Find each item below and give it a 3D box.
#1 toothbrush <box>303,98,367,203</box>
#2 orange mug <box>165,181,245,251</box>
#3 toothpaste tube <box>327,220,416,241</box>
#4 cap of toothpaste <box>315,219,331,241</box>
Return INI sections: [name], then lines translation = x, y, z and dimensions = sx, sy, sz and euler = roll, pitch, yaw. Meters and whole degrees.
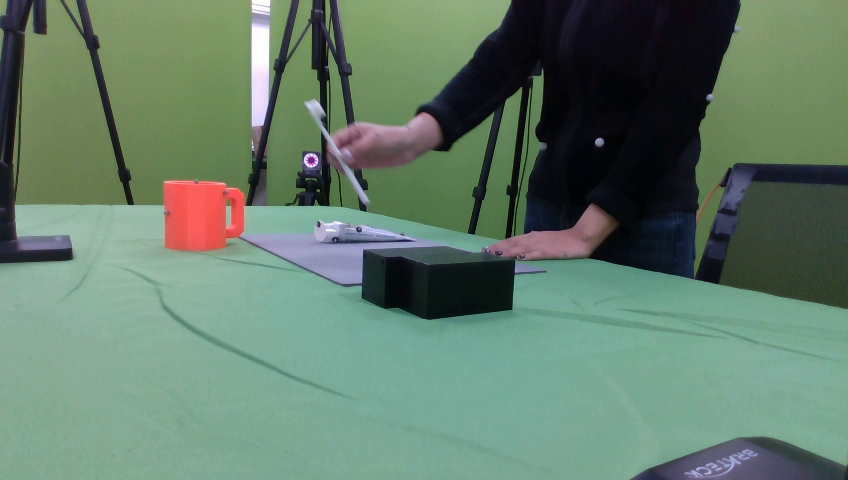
[toothbrush]
translation = -0.122, -0.124, 0.865
dimensions = 0.016, 0.182, 0.014
euler = -31, 36, -6
[orange mug]
translation = -0.326, -0.040, 0.911
dimensions = 0.083, 0.101, 0.127
euler = 8, 14, 37
[toothpaste tube]
translation = -0.095, -0.012, 1.026
dimensions = 0.166, 0.034, 0.055
euler = 2, 13, -33
[cap of toothpaste]
translation = -0.165, -0.016, 0.982
dimensions = 0.011, 0.037, 0.037
euler = -8, 12, -43
